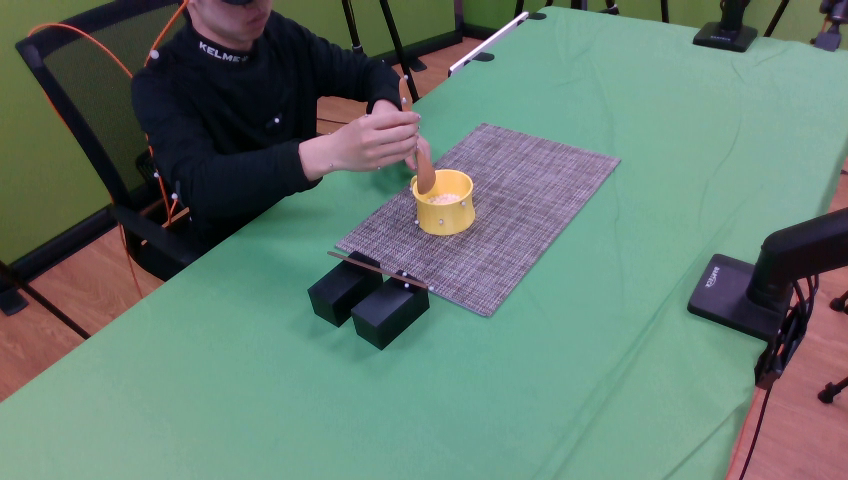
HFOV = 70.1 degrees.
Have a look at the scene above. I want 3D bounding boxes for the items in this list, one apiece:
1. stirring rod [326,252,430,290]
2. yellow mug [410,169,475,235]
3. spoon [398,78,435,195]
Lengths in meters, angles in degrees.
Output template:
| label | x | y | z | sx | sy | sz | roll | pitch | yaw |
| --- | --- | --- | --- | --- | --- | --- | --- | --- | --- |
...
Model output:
| label | x | y | z | sx | sy | sz | roll | pitch | yaw |
| --- | --- | --- | --- | --- | --- | --- | --- | --- | --- |
| stirring rod | -0.068 | 0.043 | 0.859 | 0.175 | 0.006 | 0.014 | 17 | 11 | 26 |
| yellow mug | 0.022 | -0.070 | 1.007 | 0.129 | 0.064 | 0.100 | 29 | 52 | 36 |
| spoon | -0.014 | -0.148 | 0.895 | 0.042 | 0.195 | 0.021 | -38 | 40 | -28 |
